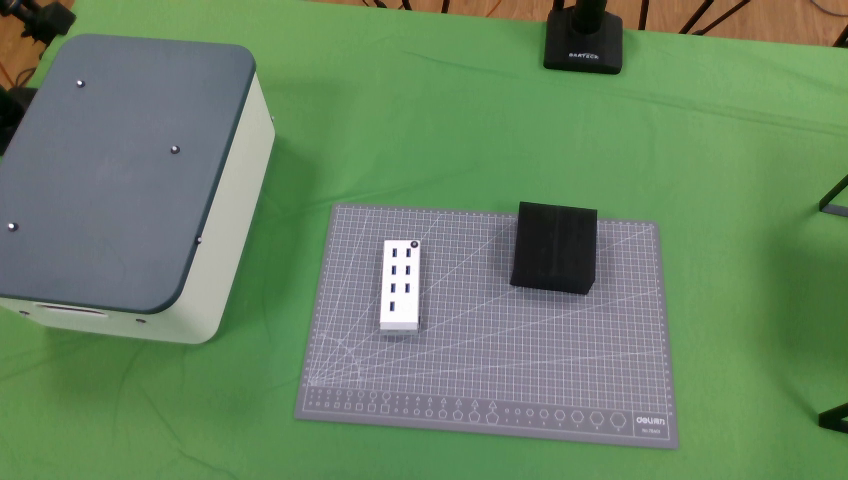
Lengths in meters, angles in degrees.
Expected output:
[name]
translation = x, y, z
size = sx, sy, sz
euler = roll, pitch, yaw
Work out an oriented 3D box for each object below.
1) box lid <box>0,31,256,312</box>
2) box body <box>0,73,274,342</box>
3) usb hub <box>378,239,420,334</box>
[box lid]
translation = -0.364, -0.097, 0.710
size = 0.263, 0.015, 0.368
euler = 6, 64, 4
[box body]
translation = -0.362, -0.065, 0.776
size = 0.254, 0.161, 0.361
euler = 6, 64, 4
[usb hub]
translation = -0.031, 0.058, 0.781
size = 0.049, 0.025, 0.124
euler = 0, 64, 1
